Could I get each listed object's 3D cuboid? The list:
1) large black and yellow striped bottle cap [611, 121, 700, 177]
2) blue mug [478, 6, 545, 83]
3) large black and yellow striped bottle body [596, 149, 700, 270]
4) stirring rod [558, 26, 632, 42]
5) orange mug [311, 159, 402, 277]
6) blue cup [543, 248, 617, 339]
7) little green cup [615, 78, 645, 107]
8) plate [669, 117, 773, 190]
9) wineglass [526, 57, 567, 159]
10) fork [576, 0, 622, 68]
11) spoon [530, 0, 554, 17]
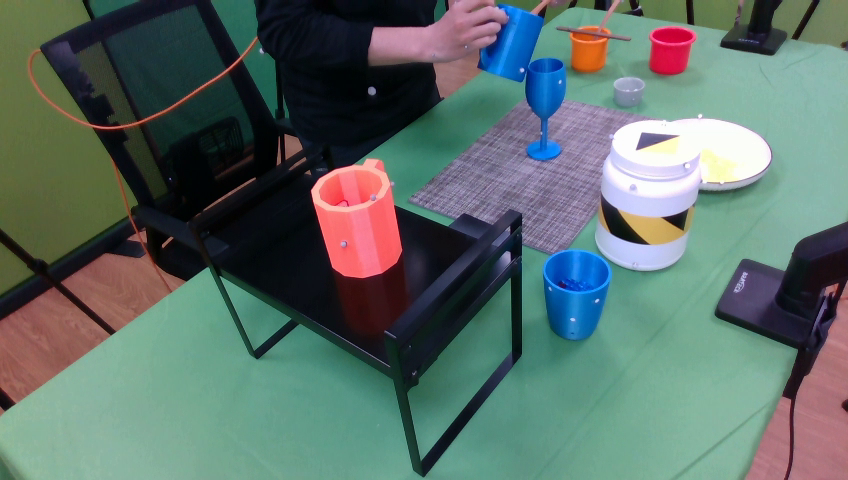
[{"bbox_3d":[0.315,-0.126,0.823,0.115,0.019,0.114,-4,42,4],"label":"large black and yellow striped bottle cap"},{"bbox_3d":[0.134,-0.327,1.003,0.117,0.106,0.081,-3,28,-46],"label":"blue mug"},{"bbox_3d":[0.323,-0.062,0.877,0.131,0.185,0.130,-5,40,4],"label":"large black and yellow striped bottle body"},{"bbox_3d":[0.381,-0.462,1.356,0.175,0.006,0.014,22,48,30],"label":"stirring rod"},{"bbox_3d":[-0.070,-0.034,0.694,0.083,0.101,0.126,5,46,16],"label":"orange mug"},{"bbox_3d":[0.199,0.076,0.797,0.092,0.100,0.092,-4,39,4],"label":"blue cup"},{"bbox_3d":[0.426,-0.306,1.257,0.061,0.039,0.061,-4,40,4],"label":"little green cup"},{"bbox_3d":[0.495,-0.148,1.063,0.209,0.038,0.208,-5,40,4],"label":"plate"},{"bbox_3d":[0.221,-0.237,1.097,0.074,0.173,0.073,-4,41,4],"label":"wineglass"},{"bbox_3d":[0.409,-0.484,1.381,0.028,0.019,0.207,37,101,45],"label":"fork"},{"bbox_3d":[0.209,-0.395,1.011,0.193,0.022,0.041,-38,35,2],"label":"spoon"}]
